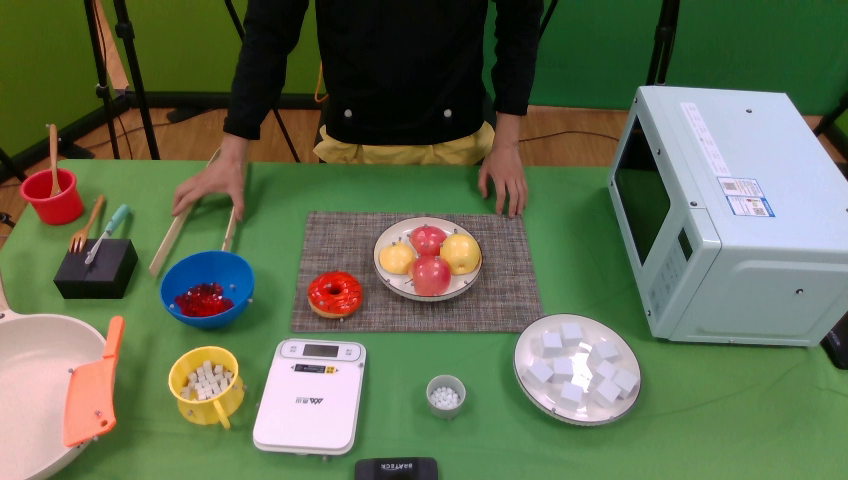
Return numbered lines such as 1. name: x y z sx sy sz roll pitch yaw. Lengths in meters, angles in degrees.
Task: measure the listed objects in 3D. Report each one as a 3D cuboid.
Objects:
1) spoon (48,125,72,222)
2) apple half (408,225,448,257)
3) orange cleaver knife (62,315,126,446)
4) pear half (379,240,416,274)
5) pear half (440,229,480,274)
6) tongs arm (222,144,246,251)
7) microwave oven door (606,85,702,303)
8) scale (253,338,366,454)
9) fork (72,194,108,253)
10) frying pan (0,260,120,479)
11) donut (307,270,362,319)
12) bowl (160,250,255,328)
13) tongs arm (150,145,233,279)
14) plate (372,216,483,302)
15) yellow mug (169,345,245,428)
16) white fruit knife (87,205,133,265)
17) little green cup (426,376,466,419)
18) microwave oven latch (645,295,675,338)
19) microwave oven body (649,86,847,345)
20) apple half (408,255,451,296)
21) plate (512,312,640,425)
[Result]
1. spoon: -0.718 -0.131 1.189 0.041 0.021 0.193 -3 90 -7
2. apple half: 0.011 -0.006 1.176 0.081 0.033 0.081 2 54 -3
3. orange cleaver knife: -0.480 0.199 0.887 0.077 0.012 0.210 -9 47 -8
4. pear half: -0.048 0.024 1.146 0.070 0.031 0.087 12 47 -12
5. pear half: 0.065 0.007 1.149 0.076 0.056 0.109 -11 43 -2
6. tongs arm: -0.400 -0.071 1.229 0.051 0.026 0.382 -3 45 -1
7. microwave oven door: 0.422 -0.094 1.140 0.039 0.245 0.353 2 46 -1
8. scale: -0.175 0.236 0.951 0.149 0.032 0.199 5 45 -1
9. fork: -0.634 -0.036 1.158 0.028 0.019 0.206 -8 32 -8
10. frying pan: -0.647 0.164 0.936 0.307 0.103 0.485 -19 58 -22
11. donut: -0.157 0.097 1.073 0.099 0.048 0.098 4 45 -4
12. bowl: -0.362 0.098 1.040 0.151 0.077 0.150 2 45 -2
13. tongs arm: -0.466 -0.071 1.228 0.028 0.028 0.385 1 45 8
14. plate: 0.006 0.038 1.145 0.209 0.038 0.208 2 46 -2
15. yellow mug: -0.322 0.230 0.922 0.100 0.064 0.130 -24 53 -25
16. white fruit knife: -0.584 -0.013 1.129 0.016 0.027 0.206 -1 32 -4
17. little green cup: 0.033 0.248 0.950 0.061 0.039 0.061 2 46 -2
18. microwave oven latch: 0.411 0.134 1.061 0.030 0.029 0.078 3 45 0
19. microwave oven body: 0.567 -0.053 1.118 0.326 0.261 0.439 2 45 -1
20. apple half: 0.012 0.058 1.103 0.075 0.053 0.080 -6 44 -13
21. plate: 0.246 0.213 0.999 0.208 0.039 0.206 2 46 -2
